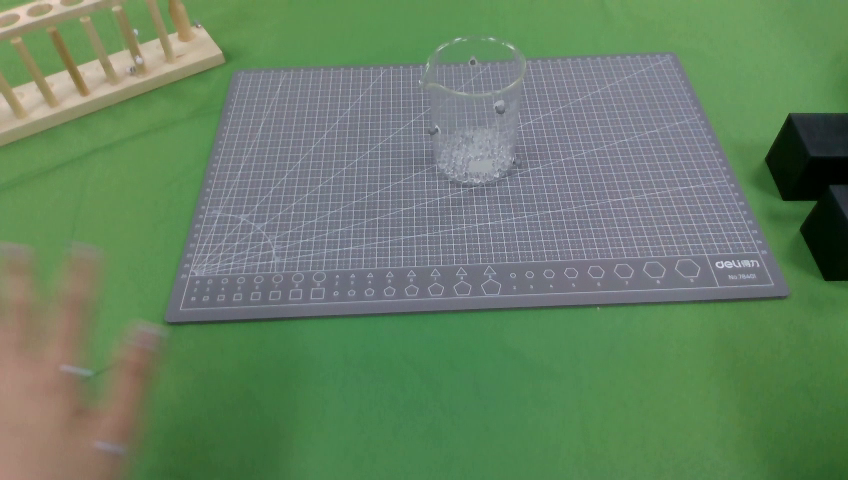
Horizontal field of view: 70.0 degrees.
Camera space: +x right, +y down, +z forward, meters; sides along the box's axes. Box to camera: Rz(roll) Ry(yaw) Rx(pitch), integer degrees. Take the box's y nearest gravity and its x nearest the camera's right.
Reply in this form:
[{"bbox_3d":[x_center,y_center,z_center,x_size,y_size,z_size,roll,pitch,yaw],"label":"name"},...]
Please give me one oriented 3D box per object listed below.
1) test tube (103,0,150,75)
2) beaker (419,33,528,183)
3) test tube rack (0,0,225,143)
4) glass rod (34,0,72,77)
[{"bbox_3d":[-0.280,-0.217,0.544,0.017,0.151,0.017,0,49,1],"label":"test tube"},{"bbox_3d":[0.038,-0.102,0.490,0.084,0.101,0.073,-16,52,-10],"label":"beaker"},{"bbox_3d":[-0.326,-0.181,0.575,0.242,0.086,0.066,-28,56,-19],"label":"test tube rack"},{"bbox_3d":[-0.351,-0.235,0.534,0.008,0.201,0.008,0,44,1],"label":"glass rod"}]
